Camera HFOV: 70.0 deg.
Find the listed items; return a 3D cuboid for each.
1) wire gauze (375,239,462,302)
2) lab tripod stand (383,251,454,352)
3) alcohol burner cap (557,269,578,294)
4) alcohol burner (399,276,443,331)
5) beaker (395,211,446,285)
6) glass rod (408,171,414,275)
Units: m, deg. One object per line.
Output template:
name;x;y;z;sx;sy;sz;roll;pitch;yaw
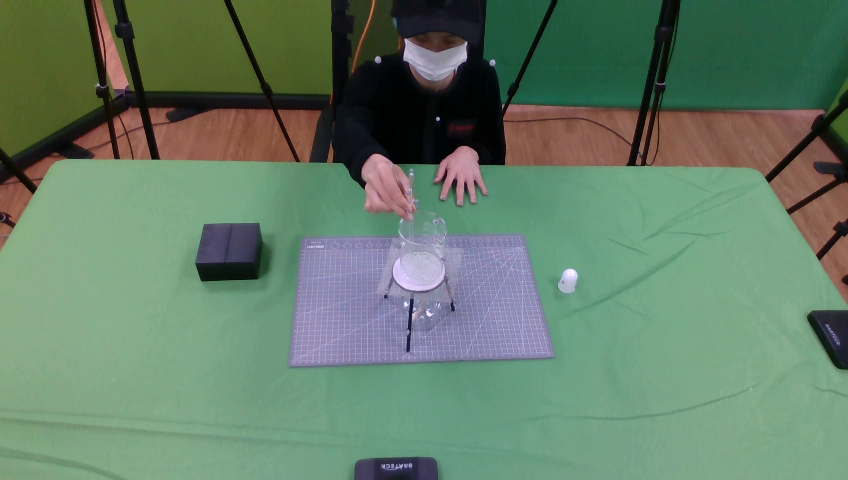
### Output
wire gauze;-0.006;0.049;0.977;0.121;0.011;0.124;10;44;5
lab tripod stand;-0.015;0.094;1.025;0.148;0.132;0.147;1;46;-1
alcohol burner cap;0.270;0.074;1.135;0.034;0.048;0.033;3;46;-3
alcohol burner;-0.004;0.101;1.033;0.078;0.119;0.077;3;48;-3
beaker;-0.002;0.017;0.941;0.083;0.101;0.074;36;55;28
glass rod;-0.019;-0.019;0.900;0.008;0.201;0.008;1;42;0
